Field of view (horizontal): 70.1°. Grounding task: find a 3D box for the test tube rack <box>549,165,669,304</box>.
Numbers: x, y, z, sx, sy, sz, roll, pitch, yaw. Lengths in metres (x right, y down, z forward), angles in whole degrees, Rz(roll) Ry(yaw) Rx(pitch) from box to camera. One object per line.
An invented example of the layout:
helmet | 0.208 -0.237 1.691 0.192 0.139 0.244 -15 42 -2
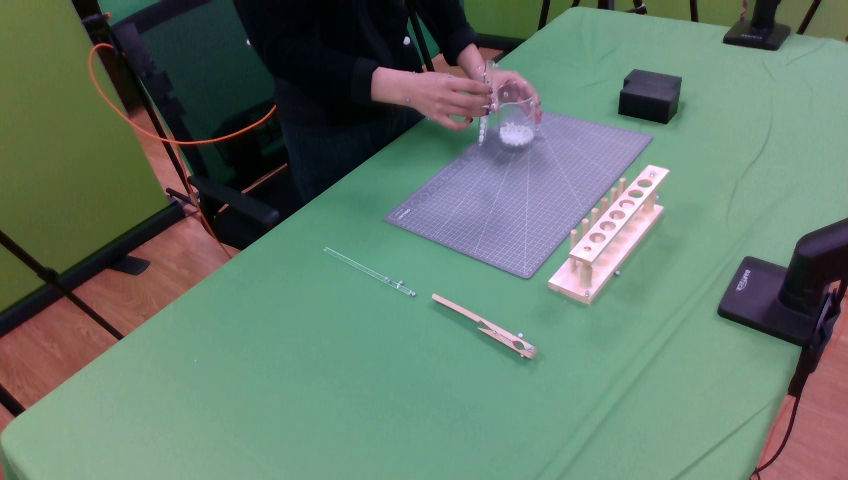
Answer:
test tube rack | 0.279 -0.018 0.902 0.066 0.085 0.243 24 50 33

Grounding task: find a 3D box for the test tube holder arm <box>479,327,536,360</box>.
test tube holder arm | 0.110 0.134 0.805 0.087 0.015 0.010 29 83 36

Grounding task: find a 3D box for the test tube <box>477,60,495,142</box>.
test tube | 0.104 -0.232 1.023 0.017 0.150 0.017 2 41 -1

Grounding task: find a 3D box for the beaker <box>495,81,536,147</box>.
beaker | 0.168 -0.229 1.117 0.084 0.101 0.073 -37 50 -24

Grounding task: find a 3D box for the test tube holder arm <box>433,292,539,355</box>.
test tube holder arm | 0.081 0.113 0.832 0.177 0.015 0.013 28 82 36

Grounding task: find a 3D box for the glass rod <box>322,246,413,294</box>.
glass rod | -0.093 0.045 0.956 0.198 0.008 0.008 24 51 33
